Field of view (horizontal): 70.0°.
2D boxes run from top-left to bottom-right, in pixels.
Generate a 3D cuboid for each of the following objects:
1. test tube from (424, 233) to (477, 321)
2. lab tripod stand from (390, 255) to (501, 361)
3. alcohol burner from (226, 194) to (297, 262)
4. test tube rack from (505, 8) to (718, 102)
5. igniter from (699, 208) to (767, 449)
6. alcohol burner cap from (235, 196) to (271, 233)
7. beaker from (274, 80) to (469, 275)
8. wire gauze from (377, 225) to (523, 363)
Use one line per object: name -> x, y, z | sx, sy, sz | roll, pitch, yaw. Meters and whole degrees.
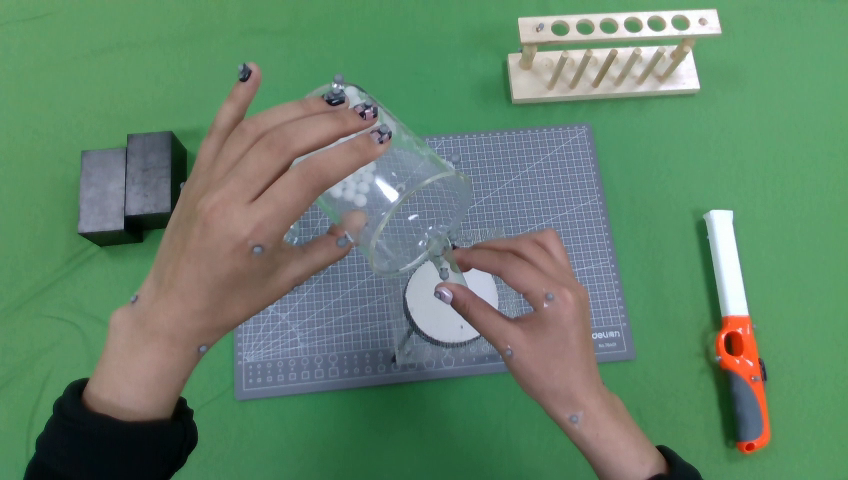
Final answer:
test tube -> 0.022, 0.032, 0.440 | 0.017, 0.151, 0.017 | -5, 66, 11
lab tripod stand -> 0.020, 0.071, 0.633 | 0.148, 0.132, 0.147 | 0, 73, 0
alcohol burner -> -0.181, -0.018, 0.660 | 0.078, 0.120, 0.077 | 0, 72, -1
test tube rack -> 0.229, -0.229, 0.754 | 0.242, 0.085, 0.066 | -4, 74, -3
igniter -> 0.354, 0.095, 0.697 | 0.057, 0.025, 0.275 | 2, 74, -12
alcohol burner cap -> -0.178, -0.028, 0.626 | 0.034, 0.048, 0.033 | 2, 76, -6
beaker -> -0.033, -0.039, 0.355 | 0.074, 0.084, 0.099 | -44, 66, 0
wire gauze -> 0.023, 0.049, 0.569 | 0.125, 0.011, 0.120 | -7, 73, -5
